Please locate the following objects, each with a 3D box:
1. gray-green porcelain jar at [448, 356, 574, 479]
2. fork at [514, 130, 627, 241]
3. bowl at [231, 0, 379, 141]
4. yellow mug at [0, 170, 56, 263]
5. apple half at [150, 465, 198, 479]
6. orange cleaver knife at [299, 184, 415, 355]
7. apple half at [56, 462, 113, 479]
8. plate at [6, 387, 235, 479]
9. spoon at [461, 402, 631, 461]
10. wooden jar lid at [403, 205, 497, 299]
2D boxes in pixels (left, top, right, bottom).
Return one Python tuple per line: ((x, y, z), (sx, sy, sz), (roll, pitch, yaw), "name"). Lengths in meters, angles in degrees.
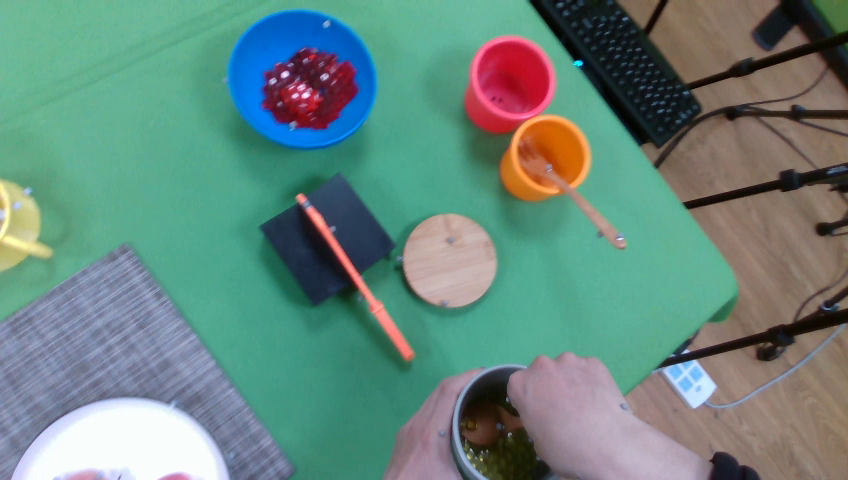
((0.076, 0.176, 0.566), (0.106, 0.127, 0.105), (0, 64, 0), "gray-green porcelain jar")
((0.155, -0.064, 0.658), (0.028, 0.019, 0.205), (-21, 43, -11), "fork")
((-0.126, -0.173, 0.660), (0.152, 0.077, 0.151), (1, 83, -10), "bowl")
((-0.428, -0.022, 0.595), (0.131, 0.064, 0.099), (26, 79, -6), "yellow mug")
((-0.248, 0.267, 0.592), (0.081, 0.033, 0.081), (2, 80, -8), "apple half")
((-0.070, 0.033, 0.641), (0.012, 0.076, 0.213), (-34, 112, -7), "orange cleaver knife")
((-0.325, 0.258, 0.571), (0.074, 0.053, 0.081), (-39, 91, -10), "apple half")
((-0.292, 0.249, 0.593), (0.210, 0.038, 0.208), (1, 83, -10), "plate")
((0.097, 0.165, 0.526), (0.022, 0.193, 0.041), (3, 67, -35), "spoon")
((0.029, 0.014, 0.692), (0.108, 0.021, 0.108), (1, 84, -8), "wooden jar lid")
